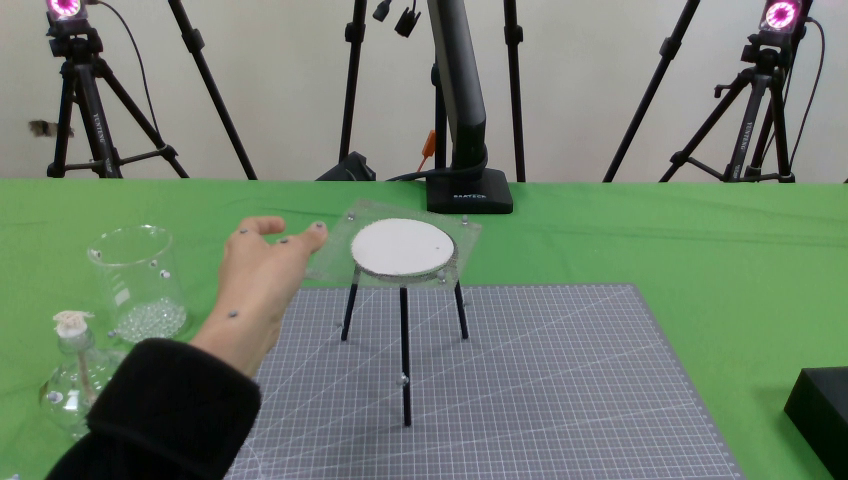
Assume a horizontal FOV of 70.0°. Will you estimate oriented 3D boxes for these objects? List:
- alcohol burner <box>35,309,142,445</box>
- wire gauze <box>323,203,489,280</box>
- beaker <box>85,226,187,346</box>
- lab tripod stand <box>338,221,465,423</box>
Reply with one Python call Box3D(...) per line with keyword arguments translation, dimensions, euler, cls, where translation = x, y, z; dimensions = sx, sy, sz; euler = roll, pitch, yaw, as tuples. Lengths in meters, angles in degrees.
Box3D(translation=(-0.270, 0.105, 0.484), dimensions=(0.078, 0.120, 0.077), euler=(2, 30, -1), cls="alcohol burner")
Box3D(translation=(-0.015, -0.005, 0.488), dimensions=(0.125, 0.011, 0.120), euler=(5, 26, -8), cls="wire gauze")
Box3D(translation=(-0.276, 0.045, 0.594), dimensions=(0.074, 0.101, 0.083), euler=(6, 32, 7), cls="beaker")
Box3D(translation=(-0.018, 0.063, 0.537), dimensions=(0.148, 0.132, 0.147), euler=(3, 33, -1), cls="lab tripod stand")
